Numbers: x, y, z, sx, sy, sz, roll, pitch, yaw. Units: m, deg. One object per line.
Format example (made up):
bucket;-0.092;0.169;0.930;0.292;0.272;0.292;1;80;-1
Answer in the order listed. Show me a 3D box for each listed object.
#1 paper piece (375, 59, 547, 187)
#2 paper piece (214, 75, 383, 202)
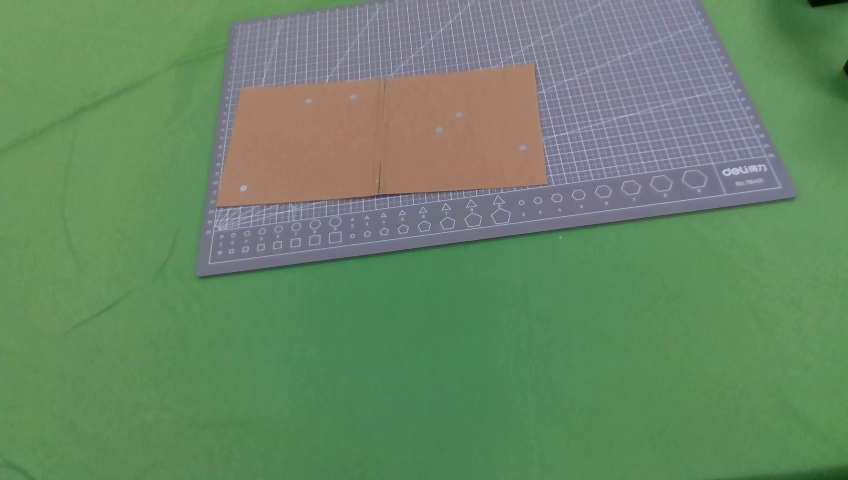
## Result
paper piece;0.029;-0.101;0.507;0.135;0.004;0.134;-2;57;5
paper piece;-0.104;-0.092;0.520;0.138;0.009;0.134;-3;54;7
